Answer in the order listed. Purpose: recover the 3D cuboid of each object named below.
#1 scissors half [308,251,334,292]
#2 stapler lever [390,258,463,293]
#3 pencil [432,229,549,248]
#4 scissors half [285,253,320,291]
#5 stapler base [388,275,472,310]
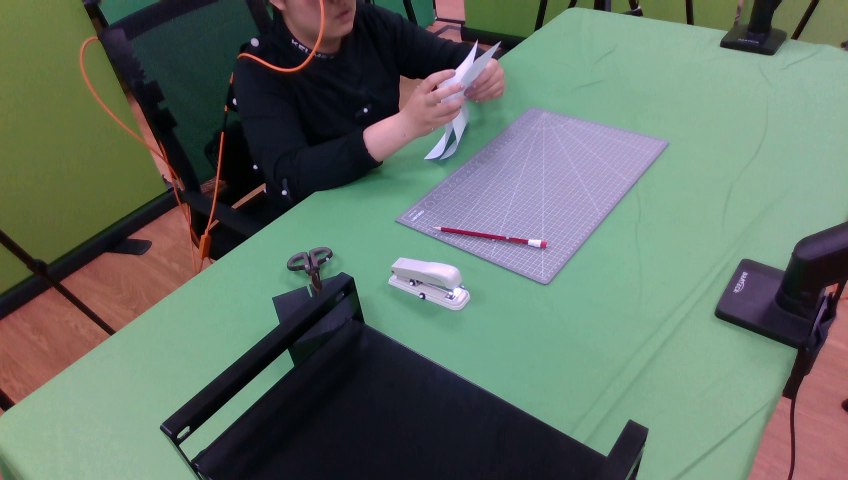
[{"bbox_3d":[-0.159,0.046,0.913,0.040,0.013,0.174,-6,18,-4],"label":"scissors half"},{"bbox_3d":[0.003,0.046,0.881,0.117,0.040,0.027,17,44,29],"label":"stapler lever"},{"bbox_3d":[0.103,-0.004,0.970,0.193,0.012,0.012,8,42,18],"label":"pencil"},{"bbox_3d":[-0.178,0.049,0.909,0.040,0.013,0.174,-17,20,-20],"label":"scissors half"},{"bbox_3d":[0.007,0.066,0.897,0.129,0.024,0.041,17,44,29],"label":"stapler base"}]
